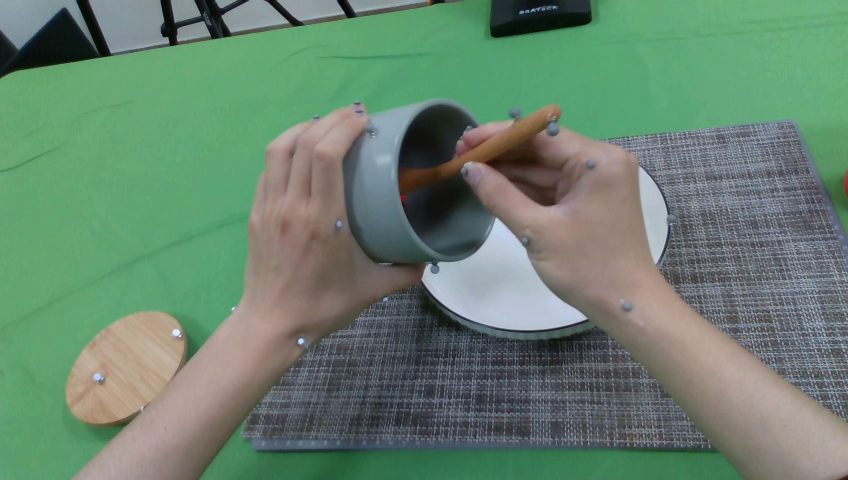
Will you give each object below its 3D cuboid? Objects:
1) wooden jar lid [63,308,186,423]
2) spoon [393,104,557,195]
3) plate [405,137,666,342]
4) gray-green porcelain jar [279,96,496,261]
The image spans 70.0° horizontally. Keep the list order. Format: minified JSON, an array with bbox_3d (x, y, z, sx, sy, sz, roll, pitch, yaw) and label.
[{"bbox_3d":[-0.255,0.108,0.523,0.108,0.021,0.107,-7,50,9],"label":"wooden jar lid"},{"bbox_3d":[0.010,-0.046,0.374,0.193,0.022,0.041,-15,47,49],"label":"spoon"},{"bbox_3d":[0.087,-0.002,0.500,0.207,0.039,0.205,-8,49,10],"label":"plate"},{"bbox_3d":[-0.030,-0.037,0.426,0.126,0.107,0.105,-2,47,42],"label":"gray-green porcelain jar"}]
